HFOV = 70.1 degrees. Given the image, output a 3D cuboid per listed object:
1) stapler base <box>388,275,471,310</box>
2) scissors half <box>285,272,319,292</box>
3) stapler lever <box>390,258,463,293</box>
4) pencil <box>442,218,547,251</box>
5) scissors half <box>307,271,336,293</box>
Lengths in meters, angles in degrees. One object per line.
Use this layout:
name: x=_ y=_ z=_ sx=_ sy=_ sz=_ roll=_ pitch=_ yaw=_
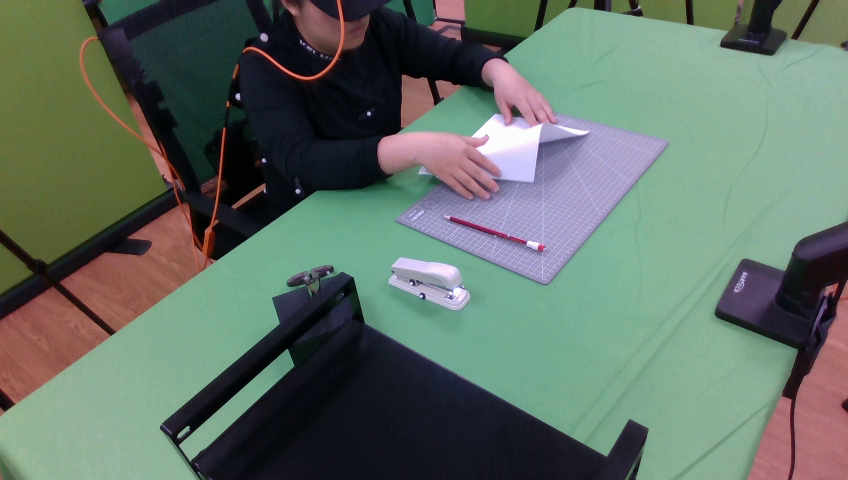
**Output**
stapler base: x=0.007 y=0.066 z=0.897 sx=0.129 sy=0.024 sz=0.041 roll=17 pitch=43 yaw=29
scissors half: x=-0.171 y=0.063 z=0.868 sx=0.040 sy=0.013 sz=0.174 roll=-10 pitch=7 yaw=-21
stapler lever: x=0.003 y=0.046 z=0.881 sx=0.117 sy=0.040 sz=0.027 roll=17 pitch=44 yaw=29
pencil: x=0.110 y=-0.012 z=0.980 sx=0.192 sy=0.012 sz=0.012 roll=18 pitch=46 yaw=30
scissors half: x=-0.152 y=0.061 z=0.872 sx=0.040 sy=0.013 sz=0.175 roll=-3 pitch=6 yaw=-4
